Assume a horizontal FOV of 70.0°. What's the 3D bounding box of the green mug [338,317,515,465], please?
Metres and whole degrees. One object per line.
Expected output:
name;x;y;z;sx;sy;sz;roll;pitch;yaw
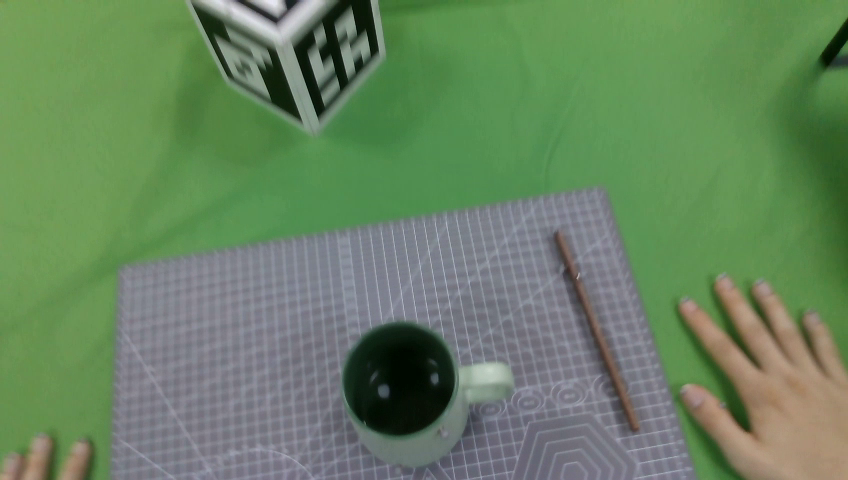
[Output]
green mug;0.003;0.106;0.435;0.125;0.106;0.091;-8;64;-1

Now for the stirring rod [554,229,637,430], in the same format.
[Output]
stirring rod;0.137;0.067;0.495;0.006;0.014;0.174;-11;64;-8
